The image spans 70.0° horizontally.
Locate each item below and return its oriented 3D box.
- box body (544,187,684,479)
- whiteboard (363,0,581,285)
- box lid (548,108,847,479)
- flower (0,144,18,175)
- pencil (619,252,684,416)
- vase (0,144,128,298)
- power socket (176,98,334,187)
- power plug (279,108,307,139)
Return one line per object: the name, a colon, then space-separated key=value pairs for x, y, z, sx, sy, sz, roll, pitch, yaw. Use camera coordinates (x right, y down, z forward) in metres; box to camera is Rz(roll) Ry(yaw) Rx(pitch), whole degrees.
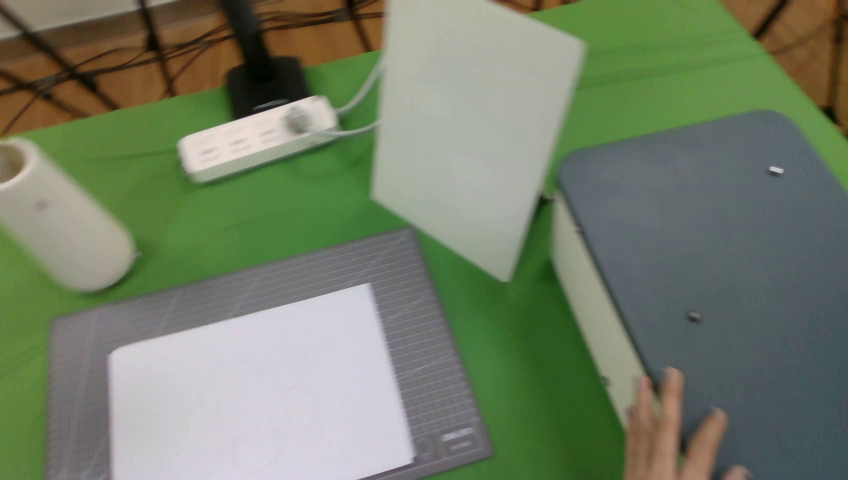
box body: x=0.292 y=0.076 z=0.602 sx=0.254 sy=0.162 sz=0.360 roll=-13 pitch=58 yaw=-6
whiteboard: x=0.069 y=-0.140 z=0.703 sx=0.215 sy=0.308 sz=0.144 roll=33 pitch=46 yaw=22
box lid: x=0.288 y=0.033 z=0.540 sx=0.263 sy=0.015 sz=0.367 roll=-13 pitch=59 yaw=-6
flower: x=-0.420 y=-0.077 z=0.615 sx=0.038 sy=0.365 sz=0.043 roll=-26 pitch=41 yaw=-21
pencil: x=0.253 y=0.100 z=0.676 sx=0.012 sy=0.012 sz=0.192 roll=-10 pitch=64 yaw=-3
vase: x=-0.417 y=-0.016 z=0.674 sx=0.098 sy=0.202 sz=0.097 roll=-2 pitch=57 yaw=3
power socket: x=-0.233 y=-0.137 z=0.841 sx=0.227 sy=0.033 sz=0.071 roll=-21 pitch=59 yaw=-11
power plug: x=-0.175 y=-0.146 z=0.816 sx=0.035 sy=0.053 sz=0.072 roll=-12 pitch=59 yaw=-4
